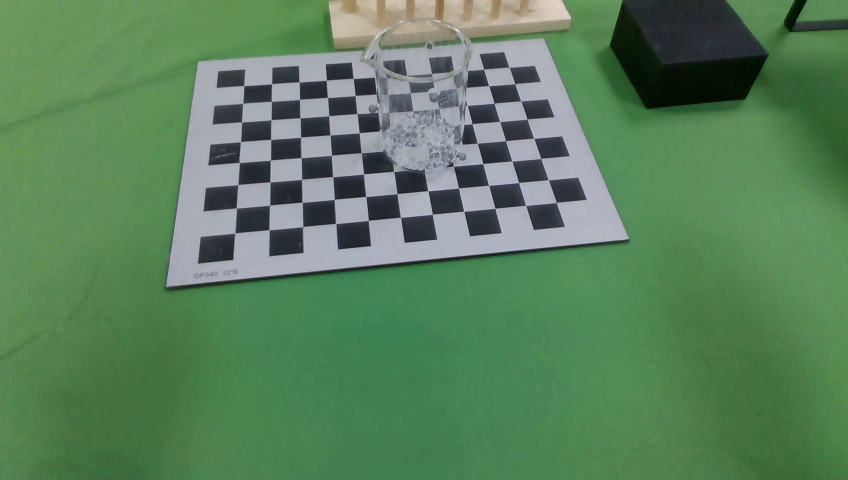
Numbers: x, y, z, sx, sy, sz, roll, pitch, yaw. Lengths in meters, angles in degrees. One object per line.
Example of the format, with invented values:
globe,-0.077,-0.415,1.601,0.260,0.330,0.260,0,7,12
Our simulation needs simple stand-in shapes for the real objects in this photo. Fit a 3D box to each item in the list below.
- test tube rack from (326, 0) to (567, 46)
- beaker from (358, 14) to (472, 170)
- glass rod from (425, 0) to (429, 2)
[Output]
test tube rack,0.023,-0.258,0.601,0.243,0.086,0.066,-7,53,-7
beaker,-0.006,-0.112,0.477,0.084,0.101,0.073,-6,53,-4
glass rod,0.014,-0.317,0.562,0.008,0.201,0.008,4,48,-5
